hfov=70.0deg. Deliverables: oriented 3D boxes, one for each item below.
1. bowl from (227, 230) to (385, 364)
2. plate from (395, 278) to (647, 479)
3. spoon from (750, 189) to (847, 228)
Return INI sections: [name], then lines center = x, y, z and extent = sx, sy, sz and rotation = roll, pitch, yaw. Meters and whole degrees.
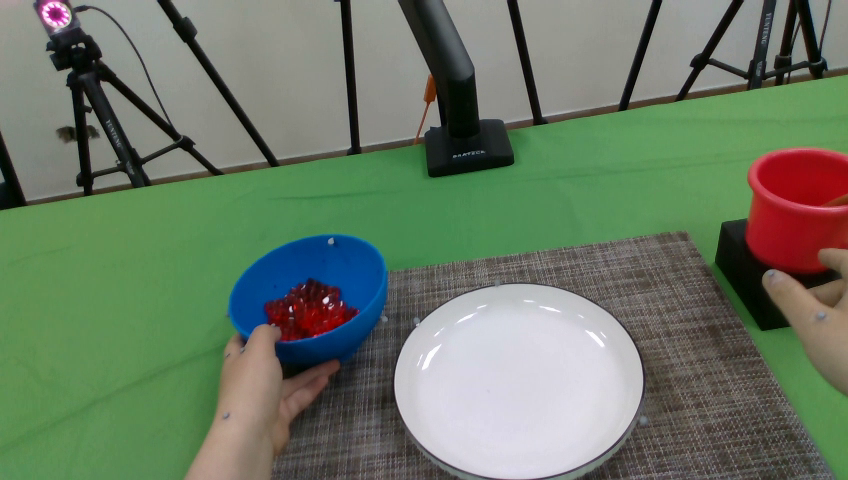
[bowl]
center = -0.104, 0.067, 0.590
extent = 0.151, 0.077, 0.150
rotation = -7, 39, 6
[plate]
center = 0.080, 0.115, 0.519
extent = 0.207, 0.039, 0.205
rotation = -7, 38, 6
[spoon]
center = 0.336, -0.032, 0.479
extent = 0.041, 0.194, 0.021
rotation = -23, 85, -14
